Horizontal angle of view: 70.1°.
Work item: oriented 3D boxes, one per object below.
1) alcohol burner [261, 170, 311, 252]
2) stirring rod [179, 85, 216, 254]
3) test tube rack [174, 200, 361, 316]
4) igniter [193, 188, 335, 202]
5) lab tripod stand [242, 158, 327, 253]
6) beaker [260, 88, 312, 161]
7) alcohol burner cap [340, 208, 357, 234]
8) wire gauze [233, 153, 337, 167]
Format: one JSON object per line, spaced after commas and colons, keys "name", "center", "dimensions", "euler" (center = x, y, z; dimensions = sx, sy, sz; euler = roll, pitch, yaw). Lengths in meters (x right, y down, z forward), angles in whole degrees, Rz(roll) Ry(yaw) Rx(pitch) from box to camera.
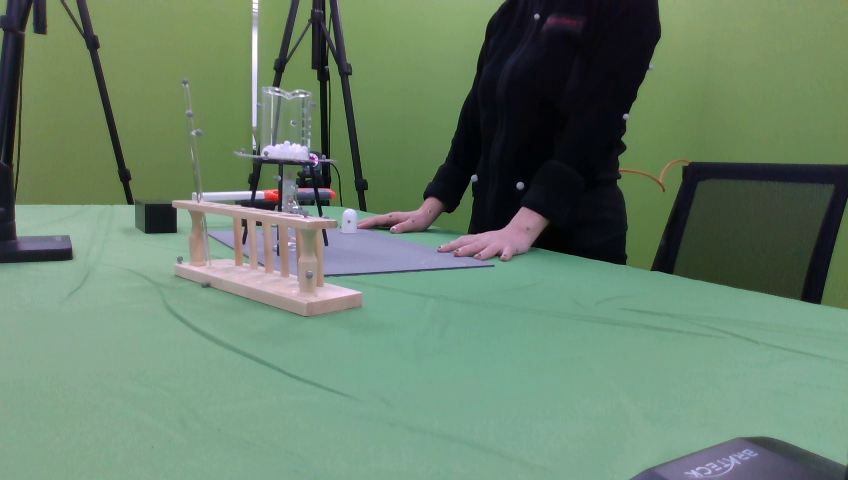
{"name": "alcohol burner", "center": [-0.201, -0.043, 0.891], "dimensions": [0.078, 0.119, 0.078], "euler": [1, 6, 0]}
{"name": "stirring rod", "center": [-0.237, -0.073, 0.634], "dimensions": [0.006, 0.176, 0.014], "euler": [0, 9, 42]}
{"name": "test tube rack", "center": [-0.169, 0.010, 0.622], "dimensions": [0.241, 0.085, 0.067], "euler": [9, 9, 41]}
{"name": "igniter", "center": [-0.312, -0.089, 1.209], "dimensions": [0.278, 0.025, 0.057], "euler": [-5, 13, -31]}
{"name": "lab tripod stand", "center": [-0.207, -0.054, 0.895], "dimensions": [0.148, 0.131, 0.148], "euler": [2, 5, 0]}
{"name": "beaker", "center": [-0.200, -0.166, 0.876], "dimensions": [0.074, 0.100, 0.083], "euler": [1, 7, -18]}
{"name": "alcohol burner cap", "center": [-0.142, -0.035, 1.136], "dimensions": [0.034, 0.048, 0.034], "euler": [2, 7, 0]}
{"name": "wire gauze", "center": [-0.205, -0.118, 0.887], "dimensions": [0.122, 0.011, 0.124], "euler": [2, 4, -32]}
